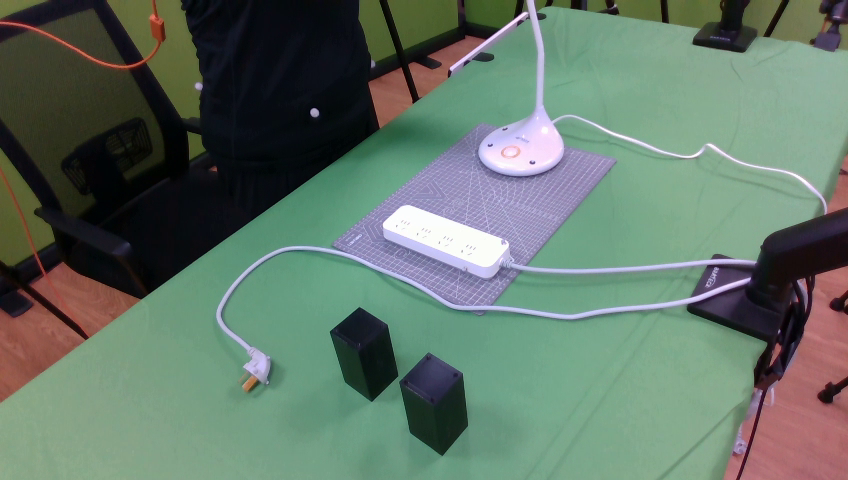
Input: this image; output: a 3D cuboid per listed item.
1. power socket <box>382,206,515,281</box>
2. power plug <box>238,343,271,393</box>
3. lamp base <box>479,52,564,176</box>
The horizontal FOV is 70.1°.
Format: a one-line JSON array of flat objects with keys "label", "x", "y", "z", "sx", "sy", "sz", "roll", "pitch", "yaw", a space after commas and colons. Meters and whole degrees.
[{"label": "power socket", "x": 0.032, "y": 0.002, "z": 0.950, "sx": 0.225, "sy": 0.033, "sz": 0.072, "roll": 21, "pitch": 49, "yaw": 29}, {"label": "power plug", "x": -0.230, "y": 0.172, "z": 0.801, "sx": 0.072, "sy": 0.035, "sz": 0.053, "roll": 9, "pitch": 51, "yaw": 50}, {"label": "lamp base", "x": 0.181, "y": -0.235, "z": 1.094, "sx": 0.159, "sy": 0.181, "sz": 0.179, "roll": 18, "pitch": 43, "yaw": 27}]
